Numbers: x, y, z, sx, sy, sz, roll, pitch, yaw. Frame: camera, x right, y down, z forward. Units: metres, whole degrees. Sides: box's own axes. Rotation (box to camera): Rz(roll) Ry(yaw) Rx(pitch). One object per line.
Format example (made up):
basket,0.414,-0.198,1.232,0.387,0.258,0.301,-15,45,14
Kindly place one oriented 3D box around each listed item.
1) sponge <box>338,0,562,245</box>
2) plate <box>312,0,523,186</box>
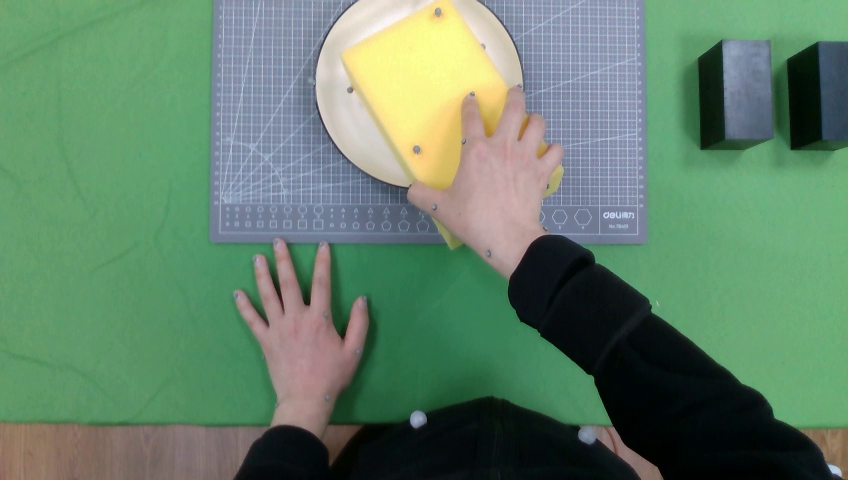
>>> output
sponge,0.022,-0.114,0.573,0.118,0.061,0.205,-30,77,-4
plate,-0.006,-0.154,0.612,0.209,0.038,0.208,0,87,-3
